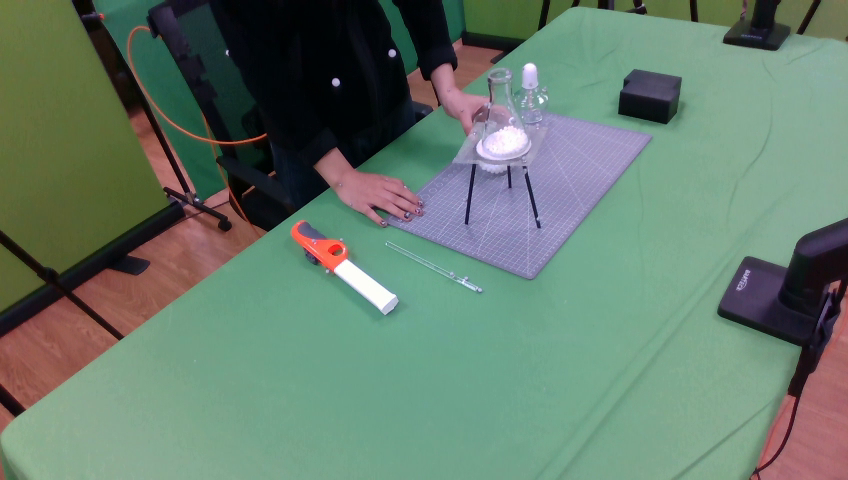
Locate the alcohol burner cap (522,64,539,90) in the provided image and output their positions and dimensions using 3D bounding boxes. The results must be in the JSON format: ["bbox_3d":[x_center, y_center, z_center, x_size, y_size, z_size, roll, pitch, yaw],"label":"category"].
[{"bbox_3d":[0.210,-0.324,1.195,0.034,0.048,0.033,-7,46,7],"label":"alcohol burner cap"}]

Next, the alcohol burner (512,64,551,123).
[{"bbox_3d":[0.215,-0.298,1.220,0.078,0.120,0.077,-7,41,7],"label":"alcohol burner"}]

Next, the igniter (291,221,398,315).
[{"bbox_3d":[-0.136,0.037,0.962,0.057,0.025,0.274,-41,48,-18],"label":"igniter"}]

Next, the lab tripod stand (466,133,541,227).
[{"bbox_3d":[0.130,-0.099,0.985,0.148,0.132,0.147,-6,38,6],"label":"lab tripod stand"}]

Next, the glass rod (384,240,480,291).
[{"bbox_3d":[0.009,0.037,0.949,0.198,0.008,0.008,26,52,34],"label":"glass rod"}]

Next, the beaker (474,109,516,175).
[{"bbox_3d":[0.130,-0.175,1.102,0.073,0.101,0.084,13,46,26],"label":"beaker"}]

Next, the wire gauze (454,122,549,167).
[{"bbox_3d":[0.122,-0.149,0.943,0.121,0.011,0.125,7,44,22],"label":"wire gauze"}]

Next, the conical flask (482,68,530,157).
[{"bbox_3d":[0.118,-0.192,0.902,0.075,0.122,0.075,-7,39,6],"label":"conical flask"}]
